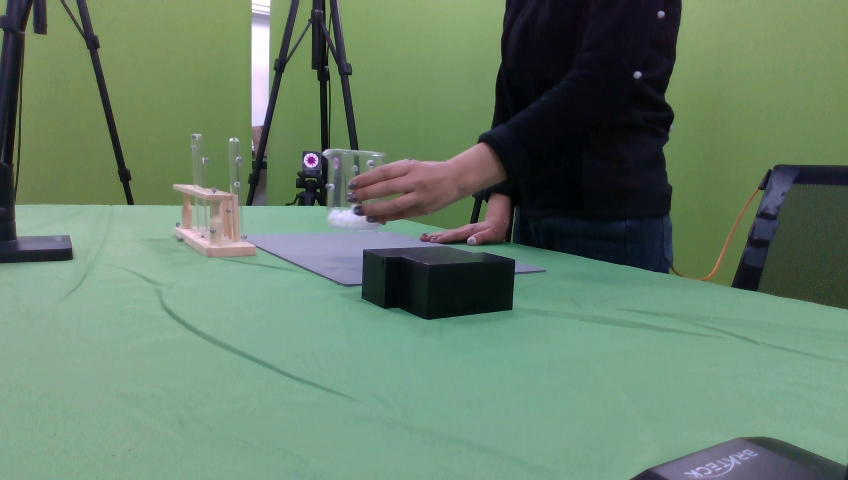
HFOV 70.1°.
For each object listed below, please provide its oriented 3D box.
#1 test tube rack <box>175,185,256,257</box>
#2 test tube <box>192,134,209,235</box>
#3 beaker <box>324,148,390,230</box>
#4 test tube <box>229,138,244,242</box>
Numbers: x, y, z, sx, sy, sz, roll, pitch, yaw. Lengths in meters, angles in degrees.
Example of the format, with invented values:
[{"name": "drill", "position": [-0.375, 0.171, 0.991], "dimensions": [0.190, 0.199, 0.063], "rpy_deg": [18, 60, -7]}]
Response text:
[{"name": "test tube rack", "position": [-0.324, -0.035, 0.922], "dimensions": [0.067, 0.085, 0.241], "rpy_deg": [-2, 9, -31]}, {"name": "test tube", "position": [-0.332, -0.082, 0.898], "dimensions": [0.017, 0.150, 0.017], "rpy_deg": [-2, 6, 0]}, {"name": "beaker", "position": [-0.087, -0.065, 0.766], "dimensions": [0.084, 0.100, 0.073], "rpy_deg": [0, 8, -28]}, {"name": "test tube", "position": [-0.269, -0.071, 0.867], "dimensions": [0.017, 0.150, 0.017], "rpy_deg": [0, 9, 0]}]
